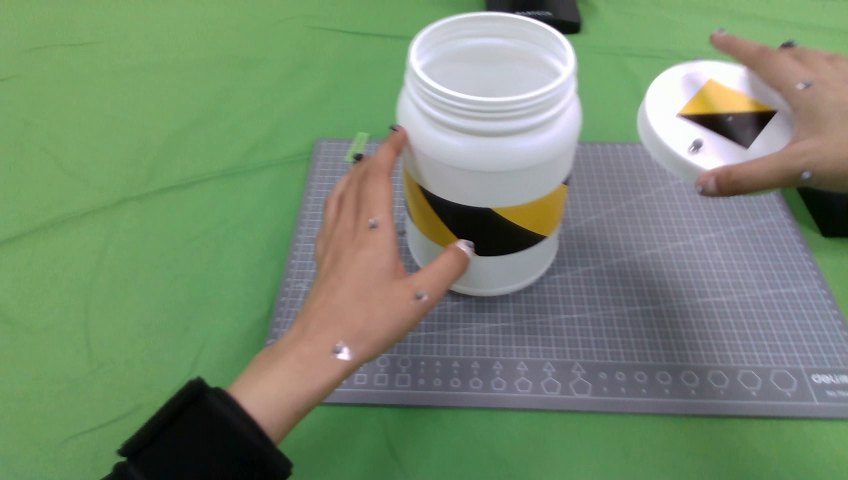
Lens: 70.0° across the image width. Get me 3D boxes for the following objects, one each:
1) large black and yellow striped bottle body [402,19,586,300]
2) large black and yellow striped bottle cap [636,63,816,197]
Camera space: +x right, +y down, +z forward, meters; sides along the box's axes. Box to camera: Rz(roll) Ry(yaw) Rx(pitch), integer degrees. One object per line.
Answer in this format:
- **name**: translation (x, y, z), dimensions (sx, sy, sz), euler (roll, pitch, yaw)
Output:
- **large black and yellow striped bottle body**: translation (0.050, -0.057, 0.463), dimensions (0.131, 0.185, 0.129), euler (0, 48, 1)
- **large black and yellow striped bottle cap**: translation (0.205, -0.078, 0.414), dimensions (0.115, 0.019, 0.114), euler (2, 55, -2)
